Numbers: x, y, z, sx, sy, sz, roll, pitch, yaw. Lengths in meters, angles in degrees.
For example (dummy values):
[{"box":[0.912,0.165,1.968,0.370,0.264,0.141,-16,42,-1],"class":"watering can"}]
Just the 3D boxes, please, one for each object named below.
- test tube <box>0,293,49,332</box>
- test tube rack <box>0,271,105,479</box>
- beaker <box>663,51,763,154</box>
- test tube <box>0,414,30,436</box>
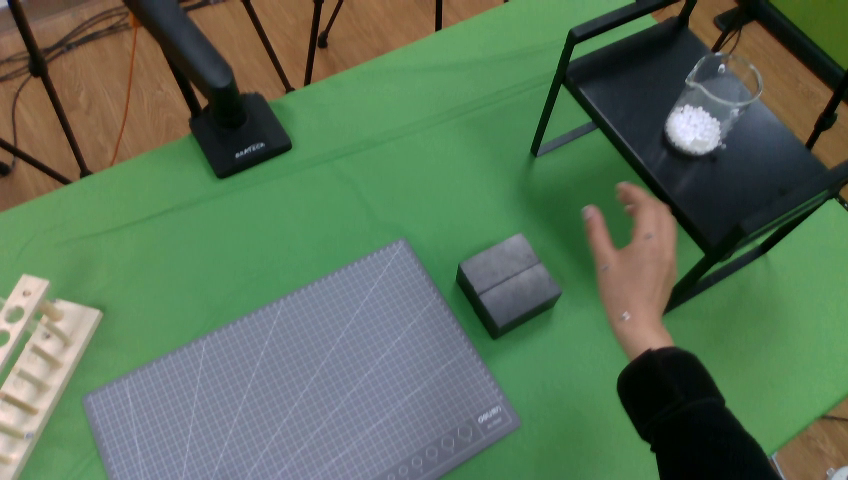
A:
[{"box":[-0.474,0.074,0.688,0.017,0.151,0.017,0,62,1],"class":"test tube"},{"box":[-0.475,0.166,0.698,0.066,0.086,0.240,14,63,4],"class":"test tube rack"},{"box":[0.324,-0.154,0.699,0.084,0.101,0.073,0,63,-2],"class":"beaker"},{"box":[-0.466,0.185,0.639,0.017,0.151,0.017,0,62,1],"class":"test tube"}]
